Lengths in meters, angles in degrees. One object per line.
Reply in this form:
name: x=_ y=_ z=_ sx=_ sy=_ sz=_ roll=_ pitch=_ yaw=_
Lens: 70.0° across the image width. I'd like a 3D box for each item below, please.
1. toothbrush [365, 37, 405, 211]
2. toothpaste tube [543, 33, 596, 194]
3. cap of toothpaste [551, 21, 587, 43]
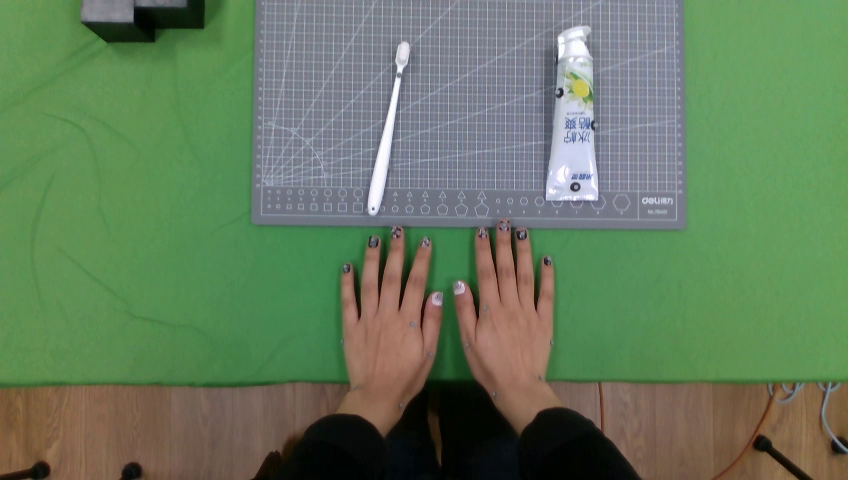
toothbrush: x=-0.039 y=-0.119 z=0.620 sx=0.014 sy=0.016 sz=0.181 roll=11 pitch=89 yaw=-15
toothpaste tube: x=0.149 y=-0.130 z=0.623 sx=0.055 sy=0.034 sz=0.165 roll=-1 pitch=91 yaw=5
cap of toothpaste: x=0.149 y=-0.212 z=0.621 sx=0.037 sy=0.037 sz=0.011 roll=-12 pitch=85 yaw=-3
